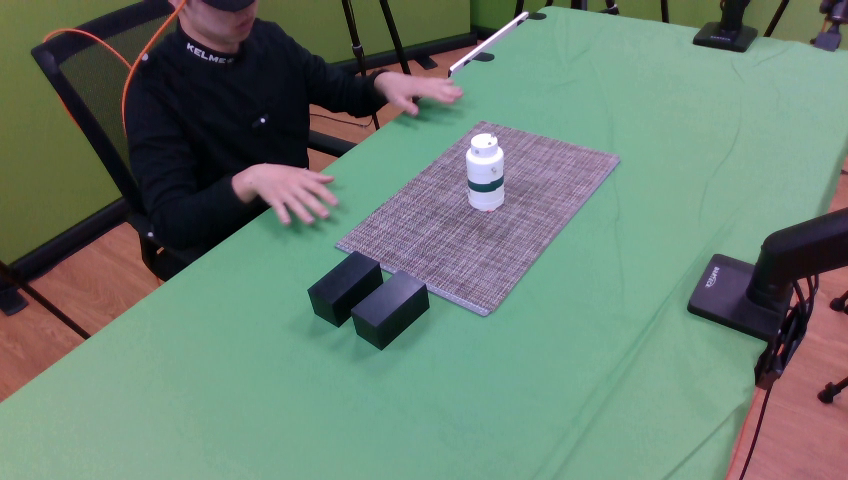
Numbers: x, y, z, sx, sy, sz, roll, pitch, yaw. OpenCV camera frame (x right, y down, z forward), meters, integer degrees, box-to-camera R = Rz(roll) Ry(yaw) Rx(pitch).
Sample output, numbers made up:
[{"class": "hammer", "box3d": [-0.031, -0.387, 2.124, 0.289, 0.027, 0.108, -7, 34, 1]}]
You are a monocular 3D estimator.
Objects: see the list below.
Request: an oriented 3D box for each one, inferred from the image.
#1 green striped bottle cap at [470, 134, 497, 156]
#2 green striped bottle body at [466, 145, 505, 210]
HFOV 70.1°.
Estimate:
[{"class": "green striped bottle cap", "box3d": [0.096, -0.152, 0.971, 0.044, 0.020, 0.044, -4, 37, 4]}, {"class": "green striped bottle body", "box3d": [0.102, -0.113, 1.005, 0.063, 0.120, 0.063, -4, 41, 4]}]
